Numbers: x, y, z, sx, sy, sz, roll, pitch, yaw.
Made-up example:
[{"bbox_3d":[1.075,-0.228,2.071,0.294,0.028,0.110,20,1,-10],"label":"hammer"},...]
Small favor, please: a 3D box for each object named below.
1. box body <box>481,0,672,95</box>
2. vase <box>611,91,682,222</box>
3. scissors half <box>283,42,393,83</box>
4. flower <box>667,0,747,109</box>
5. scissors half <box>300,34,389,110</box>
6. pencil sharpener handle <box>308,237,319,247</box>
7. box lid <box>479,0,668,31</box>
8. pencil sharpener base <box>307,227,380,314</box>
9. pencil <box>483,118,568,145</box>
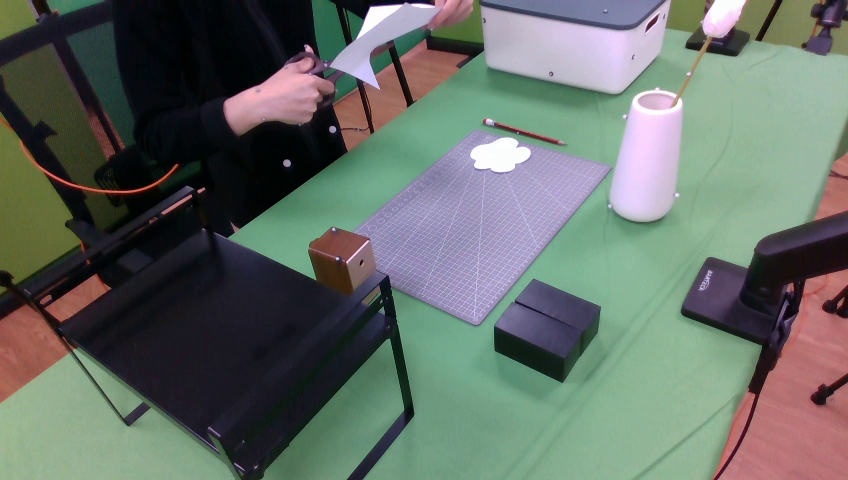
[{"bbox_3d":[0.341,-0.480,1.381,0.361,0.161,0.255,22,48,30],"label":"box body"},{"bbox_3d":[0.348,-0.125,0.935,0.098,0.201,0.097,-3,40,3],"label":"vase"},{"bbox_3d":[-0.132,-0.279,0.929,0.175,0.040,0.012,-15,30,-3],"label":"scissors half"},{"bbox_3d":[0.354,-0.187,0.879,0.038,0.362,0.044,30,48,14],"label":"flower"},{"bbox_3d":[-0.122,-0.261,0.939,0.175,0.040,0.012,-40,23,10],"label":"scissors half"},{"bbox_3d":[-0.159,0.017,0.892,0.030,0.068,0.036,18,61,28],"label":"pencil sharpener handle"},{"bbox_3d":[0.335,-0.536,1.331,0.368,0.015,0.264,23,49,30],"label":"box lid"},{"bbox_3d":[-0.116,0.043,0.875,0.076,0.107,0.061,18,47,27],"label":"pencil sharpener base"},{"bbox_3d":[0.201,-0.217,1.212,0.192,0.012,0.012,24,49,29],"label":"pencil"}]
